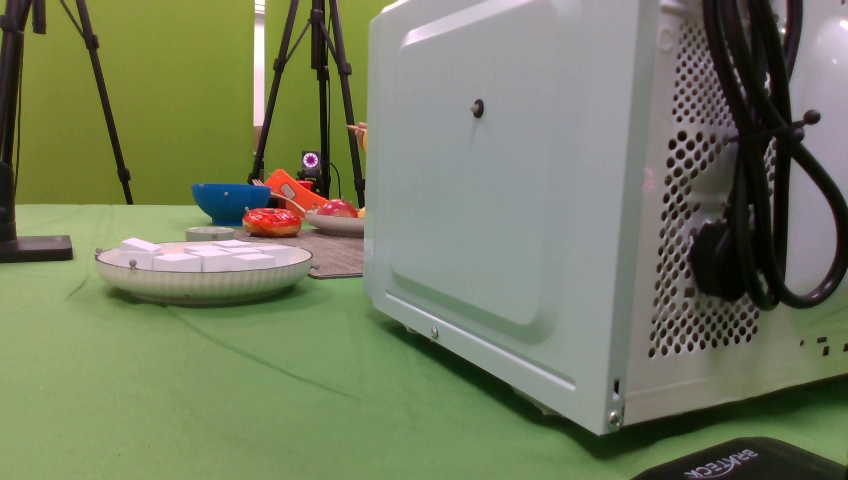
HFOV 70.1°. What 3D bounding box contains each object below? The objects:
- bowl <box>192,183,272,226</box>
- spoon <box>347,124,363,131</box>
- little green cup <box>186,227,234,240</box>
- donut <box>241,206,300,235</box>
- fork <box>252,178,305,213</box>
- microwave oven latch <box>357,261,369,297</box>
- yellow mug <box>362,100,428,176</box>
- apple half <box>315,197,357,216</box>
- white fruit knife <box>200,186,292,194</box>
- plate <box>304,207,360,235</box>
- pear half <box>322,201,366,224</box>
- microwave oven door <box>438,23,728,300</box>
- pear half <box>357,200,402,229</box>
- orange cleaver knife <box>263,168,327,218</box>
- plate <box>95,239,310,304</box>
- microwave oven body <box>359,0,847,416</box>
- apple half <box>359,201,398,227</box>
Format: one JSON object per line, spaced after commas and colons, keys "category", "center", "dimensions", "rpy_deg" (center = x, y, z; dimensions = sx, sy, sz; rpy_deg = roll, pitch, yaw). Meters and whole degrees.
{"category": "bowl", "center": [-0.381, -0.071, 1.202], "dimensions": [0.151, 0.077, 0.151], "rpy_deg": [3, 7, 0]}
{"category": "spoon", "center": [-0.110, -0.206, 1.161], "dimensions": [0.042, 0.021, 0.193], "rpy_deg": [-5, 24, -25]}
{"category": "little green cup", "center": [-0.285, 0.005, 0.805], "dimensions": [0.061, 0.038, 0.061], "rpy_deg": [2, 8, 0]}
{"category": "donut", "center": [-0.263, -0.032, 1.039], "dimensions": [0.099, 0.048, 0.099], "rpy_deg": [4, 10, 0]}
{"category": "fork", "center": [-0.295, -0.084, 1.292], "dimensions": [0.206, 0.018, 0.028], "rpy_deg": [29, 10, 25]}
{"category": "microwave oven latch", "center": [-0.019, 0.033, 0.530], "dimensions": [0.079, 0.029, 0.030], "rpy_deg": [-1, 7, -26]}
{"category": "yellow mug", "center": [-0.051, -0.181, 1.042], "dimensions": [0.100, 0.131, 0.063], "rpy_deg": [-22, 44, -18]}
{"category": "apple half", "center": [-0.161, -0.052, 1.121], "dimensions": [0.081, 0.053, 0.074], "rpy_deg": [4, 7, -14]}
{"category": "white fruit knife", "center": [-0.399, -0.111, 1.368], "dimensions": [0.208, 0.016, 0.027], "rpy_deg": [-4, -19, -30]}
{"category": "plate", "center": [-0.123, -0.037, 1.149], "dimensions": [0.209, 0.038, 0.209], "rpy_deg": [2, 7, 0]}
{"category": "pear half", "center": [-0.157, -0.058, 1.197], "dimensions": [0.088, 0.031, 0.070], "rpy_deg": [11, 31, -4]}
{"category": "microwave oven door", "center": [0.181, -0.072, 0.621], "dimensions": [0.358, 0.243, 0.039], "rpy_deg": [-2, 8, -29]}
{"category": "pear half", "center": [-0.074, -0.046, 1.132], "dimensions": [0.076, 0.056, 0.110], "rpy_deg": [12, 7, 31]}
{"category": "orange cleaver knife", "center": [-0.263, -0.087, 1.353], "dimensions": [0.211, 0.077, 0.012], "rpy_deg": [28, 13, -1]}
{"category": "plate", "center": [-0.224, 0.031, 0.629], "dimensions": [0.208, 0.039, 0.207], "rpy_deg": [2, 8, 0]}
{"category": "microwave oven body", "center": [0.211, -0.047, 0.474], "dimensions": [0.444, 0.260, 0.324], "rpy_deg": [-1, 7, -28]}
{"category": "apple half", "center": [-0.088, -0.058, 1.191], "dimensions": [0.081, 0.033, 0.081], "rpy_deg": [9, 30, -5]}
